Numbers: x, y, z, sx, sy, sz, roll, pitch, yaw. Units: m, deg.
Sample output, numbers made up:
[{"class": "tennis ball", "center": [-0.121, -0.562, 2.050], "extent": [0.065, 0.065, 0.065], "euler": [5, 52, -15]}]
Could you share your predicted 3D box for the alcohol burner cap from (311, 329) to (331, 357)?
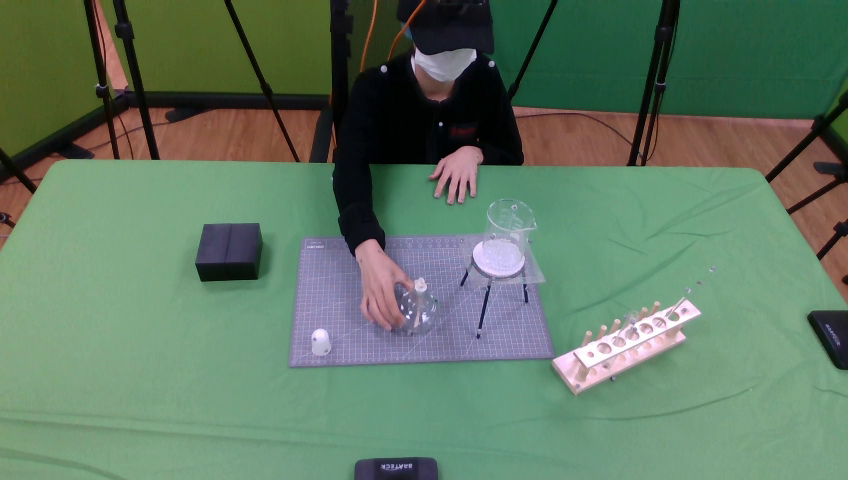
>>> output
[{"class": "alcohol burner cap", "center": [-0.173, 0.168, 1.005], "extent": [0.034, 0.048, 0.033], "euler": [2, 46, -2]}]

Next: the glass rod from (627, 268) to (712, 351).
[{"class": "glass rod", "center": [0.399, 0.117, 0.995], "extent": [0.008, 0.200, 0.008], "euler": [26, 29, -16]}]

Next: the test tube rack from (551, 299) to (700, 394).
[{"class": "test tube rack", "center": [0.339, 0.166, 1.021], "extent": [0.242, 0.085, 0.066], "euler": [-19, 50, -21]}]

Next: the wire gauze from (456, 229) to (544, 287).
[{"class": "wire gauze", "center": [0.125, 0.030, 1.008], "extent": [0.125, 0.011, 0.120], "euler": [-3, 48, -11]}]

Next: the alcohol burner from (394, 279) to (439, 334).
[{"class": "alcohol burner", "center": [-0.011, 0.105, 1.028], "extent": [0.078, 0.119, 0.077], "euler": [4, 47, -4]}]

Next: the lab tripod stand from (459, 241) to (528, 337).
[{"class": "lab tripod stand", "center": [0.122, 0.075, 1.054], "extent": [0.148, 0.132, 0.147], "euler": [3, 44, -3]}]

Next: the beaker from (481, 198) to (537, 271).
[{"class": "beaker", "center": [0.134, -0.005, 0.974], "extent": [0.084, 0.101, 0.074], "euler": [23, 49, 16]}]

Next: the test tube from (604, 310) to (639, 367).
[{"class": "test tube", "center": [0.310, 0.158, 0.957], "extent": [0.017, 0.151, 0.017], "euler": [1, 49, -1]}]
